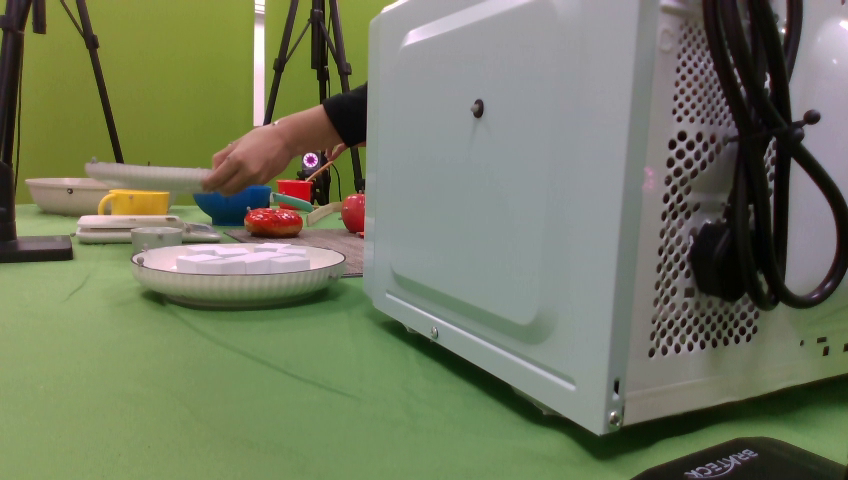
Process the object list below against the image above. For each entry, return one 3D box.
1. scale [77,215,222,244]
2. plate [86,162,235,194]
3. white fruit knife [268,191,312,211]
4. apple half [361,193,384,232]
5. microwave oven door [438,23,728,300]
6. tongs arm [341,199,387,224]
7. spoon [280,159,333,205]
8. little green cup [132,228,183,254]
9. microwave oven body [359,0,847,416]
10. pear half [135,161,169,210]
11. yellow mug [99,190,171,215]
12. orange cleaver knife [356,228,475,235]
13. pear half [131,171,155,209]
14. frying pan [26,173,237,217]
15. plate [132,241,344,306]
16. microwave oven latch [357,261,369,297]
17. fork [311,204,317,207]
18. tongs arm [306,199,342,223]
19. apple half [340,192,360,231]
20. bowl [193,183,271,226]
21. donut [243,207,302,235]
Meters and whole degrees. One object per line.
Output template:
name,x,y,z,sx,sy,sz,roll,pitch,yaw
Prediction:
scale,-0.434,-0.018,0.963,0.202,0.031,0.148,-1,9,-27
plate,-0.401,-0.095,0.929,0.209,0.038,0.209,3,6,0
white fruit knife,-0.364,-0.105,1.464,0.208,0.027,0.016,15,0,-34
apple half,-0.092,-0.053,1.135,0.033,0.081,0.081,0,7,12
microwave oven door,0.181,-0.073,0.620,0.358,0.243,0.039,-2,8,-29
tongs arm,-0.148,-0.070,1.429,0.051,0.026,0.383,-2,8,-14
spoon,-0.316,-0.159,1.640,0.194,0.022,0.041,-50,32,-20
little green cup,-0.342,0.006,0.779,0.061,0.038,0.061,2,8,0
microwave oven body,0.211,-0.047,0.474,0.444,0.260,0.324,-1,7,-28
pear half,-0.602,-0.120,1.354,0.056,0.110,0.076,4,11,6
yellow mug,-0.518,-0.055,1.080,0.099,0.064,0.131,7,10,26
orange cleaver knife,-0.017,-0.015,1.080,0.211,0.012,0.077,0,1,-2
pear half,-0.638,-0.113,1.361,0.031,0.088,0.070,5,10,4
frying pan,-0.624,-0.118,1.387,0.305,0.102,0.490,8,17,32
plate,-0.187,0.033,0.625,0.208,0.039,0.207,2,8,0
microwave oven latch,-0.019,0.033,0.530,0.079,0.029,0.030,-1,7,-26
fork,-0.356,-0.105,1.526,0.208,0.018,0.028,16,-6,-40
tongs arm,-0.233,-0.071,1.414,0.028,0.028,0.387,-4,7,1
apple half,-0.130,-0.054,1.143,0.053,0.074,0.081,0,11,12
bowl,-0.382,-0.071,1.202,0.151,0.077,0.151,3,7,0
donut,-0.261,-0.032,1.043,0.099,0.048,0.099,4,9,0
